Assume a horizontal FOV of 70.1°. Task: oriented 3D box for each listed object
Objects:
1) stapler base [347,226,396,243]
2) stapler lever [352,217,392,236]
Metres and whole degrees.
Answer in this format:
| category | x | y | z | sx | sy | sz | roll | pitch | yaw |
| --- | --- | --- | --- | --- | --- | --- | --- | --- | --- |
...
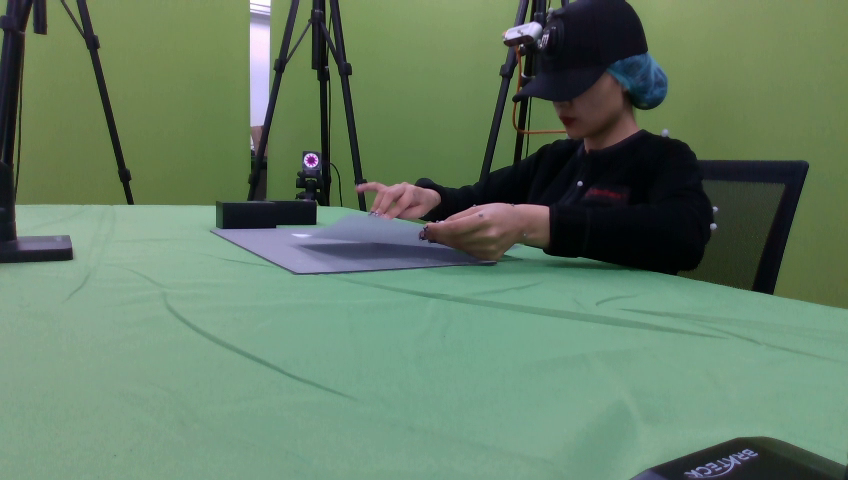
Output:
| category | x | y | z | sx | sy | sz | roll | pitch | yaw |
| --- | --- | --- | --- | --- | --- | --- | --- | --- | --- |
| stapler base | -0.092 | -0.013 | 1.061 | 0.041 | 0.024 | 0.130 | 2 | 5 | -30 |
| stapler lever | -0.091 | -0.029 | 1.059 | 0.027 | 0.040 | 0.117 | 2 | 15 | -30 |
